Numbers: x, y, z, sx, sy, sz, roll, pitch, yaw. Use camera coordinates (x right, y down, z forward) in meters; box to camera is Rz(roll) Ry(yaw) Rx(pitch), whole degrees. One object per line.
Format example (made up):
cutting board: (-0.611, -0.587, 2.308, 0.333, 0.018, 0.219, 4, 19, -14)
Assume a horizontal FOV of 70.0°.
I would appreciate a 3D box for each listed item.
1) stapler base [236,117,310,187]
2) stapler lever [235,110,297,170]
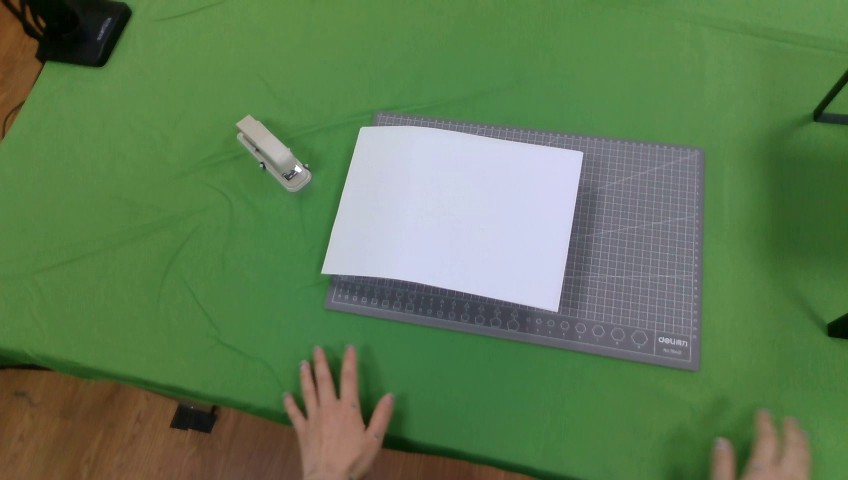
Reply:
stapler base: (-0.210, -0.127, 0.836, 0.041, 0.024, 0.129, -41, 69, -15)
stapler lever: (-0.214, -0.138, 0.813, 0.027, 0.040, 0.117, -41, 69, -15)
